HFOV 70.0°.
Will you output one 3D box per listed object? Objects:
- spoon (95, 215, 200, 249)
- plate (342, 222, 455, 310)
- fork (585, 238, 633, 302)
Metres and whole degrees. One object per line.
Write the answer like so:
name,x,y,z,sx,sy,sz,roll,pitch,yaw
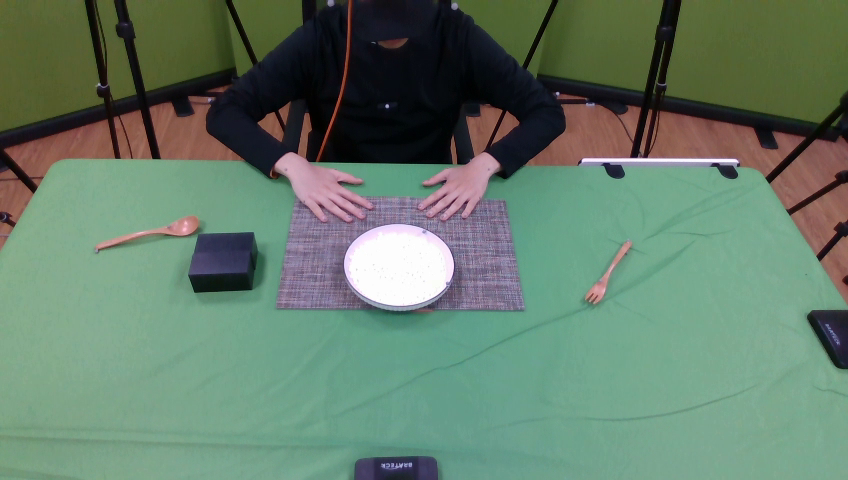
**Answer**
spoon,-0.531,-0.014,1.168,0.194,0.022,0.041,-13,65,-16
plate,-0.047,0.052,1.127,0.209,0.038,0.208,2,46,-2
fork,0.362,0.055,1.171,0.028,0.019,0.207,20,49,30
